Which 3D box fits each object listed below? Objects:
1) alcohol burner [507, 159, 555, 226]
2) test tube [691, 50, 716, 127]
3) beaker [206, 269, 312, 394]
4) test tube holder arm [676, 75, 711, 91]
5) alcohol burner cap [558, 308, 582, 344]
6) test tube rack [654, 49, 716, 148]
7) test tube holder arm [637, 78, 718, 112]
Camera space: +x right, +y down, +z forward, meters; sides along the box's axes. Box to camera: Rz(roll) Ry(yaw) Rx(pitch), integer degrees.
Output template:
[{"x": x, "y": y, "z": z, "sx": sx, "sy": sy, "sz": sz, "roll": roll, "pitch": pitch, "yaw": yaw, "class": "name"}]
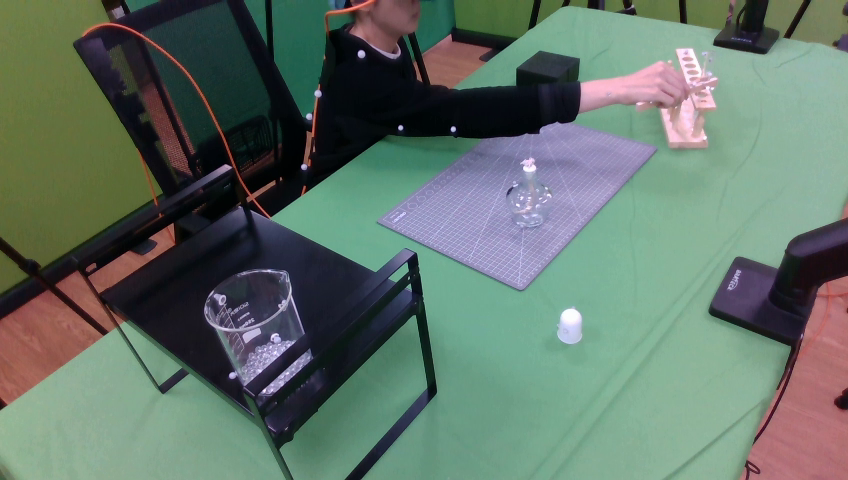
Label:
[{"x": 0.172, "y": -0.081, "z": 0.969, "sx": 0.078, "sy": 0.119, "sz": 0.077, "roll": -4, "pitch": 43, "yaw": 4, "class": "alcohol burner"}, {"x": 0.500, "y": -0.268, "z": 1.085, "sx": 0.017, "sy": 0.151, "sz": 0.017, "roll": -4, "pitch": 41, "yaw": 4, "class": "test tube"}, {"x": -0.146, "y": 0.086, "z": 0.560, "sx": 0.073, "sy": 0.101, "sz": 0.084, "roll": 19, "pitch": 46, "yaw": 27, "class": "beaker"}, {"x": 0.477, "y": -0.272, "z": 1.069, "sx": 0.088, "sy": 0.015, "sz": 0.010, "roll": -27, "pitch": 41, "yaw": -26, "class": "test tube holder arm"}, {"x": 0.195, "y": 0.111, "z": 0.802, "sx": 0.034, "sy": 0.048, "sz": 0.033, "roll": -4, "pitch": 39, "yaw": 4, "class": "alcohol burner cap"}, {"x": 0.502, "y": -0.281, "z": 1.176, "sx": 0.066, "sy": 0.085, "sz": 0.241, "roll": 2, "pitch": 41, "yaw": 11, "class": "test tube rack"}, {"x": 0.441, "y": -0.253, "z": 1.049, "sx": 0.179, "sy": 0.015, "sz": 0.013, "roll": -21, "pitch": 38, "yaw": -20, "class": "test tube holder arm"}]
